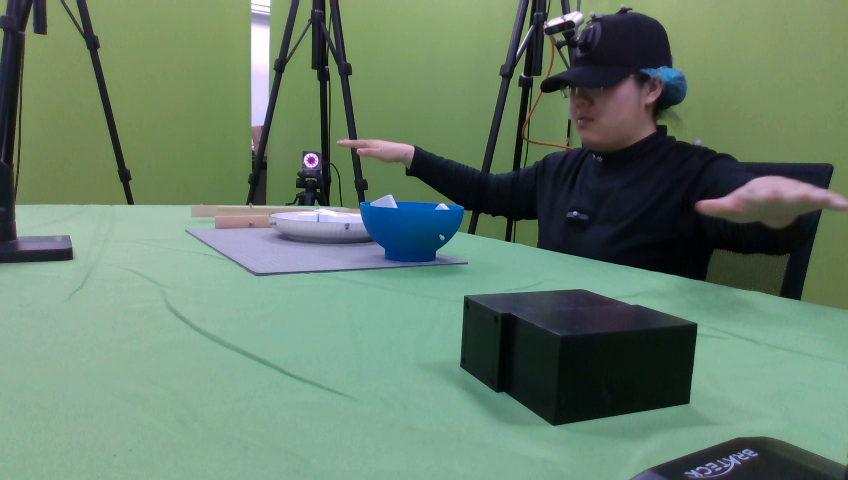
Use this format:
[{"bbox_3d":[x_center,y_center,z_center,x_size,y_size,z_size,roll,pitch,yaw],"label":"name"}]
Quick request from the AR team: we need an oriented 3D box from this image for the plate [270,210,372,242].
[{"bbox_3d":[-0.161,-0.024,1.054,0.208,0.039,0.207,2,7,0],"label":"plate"}]

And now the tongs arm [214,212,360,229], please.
[{"bbox_3d":[-0.243,-0.043,1.237,0.390,0.028,0.028,-4,7,-44],"label":"tongs arm"}]

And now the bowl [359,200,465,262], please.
[{"bbox_3d":[-0.018,-0.013,0.859,0.151,0.077,0.151,2,7,0],"label":"bowl"}]

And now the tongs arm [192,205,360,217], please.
[{"bbox_3d":[-0.290,-0.057,1.299,0.387,0.026,0.050,-1,9,-32],"label":"tongs arm"}]
